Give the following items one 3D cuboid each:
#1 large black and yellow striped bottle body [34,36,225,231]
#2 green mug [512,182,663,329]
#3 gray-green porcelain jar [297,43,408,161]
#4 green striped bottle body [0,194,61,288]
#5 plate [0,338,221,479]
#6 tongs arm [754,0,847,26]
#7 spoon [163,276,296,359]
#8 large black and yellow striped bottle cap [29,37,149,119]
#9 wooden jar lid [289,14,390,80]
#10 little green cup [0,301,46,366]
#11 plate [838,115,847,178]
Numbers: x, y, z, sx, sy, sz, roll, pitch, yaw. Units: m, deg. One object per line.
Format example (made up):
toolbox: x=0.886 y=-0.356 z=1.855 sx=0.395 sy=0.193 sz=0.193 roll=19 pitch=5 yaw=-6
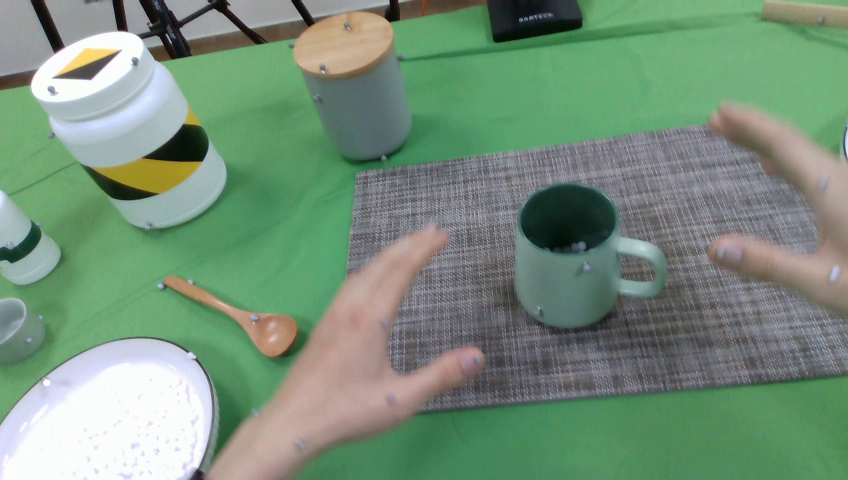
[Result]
large black and yellow striped bottle body: x=-0.317 y=-0.113 z=0.666 sx=0.130 sy=0.186 sz=0.129 roll=-6 pitch=51 yaw=8
green mug: x=0.135 y=0.018 z=0.507 sx=0.124 sy=0.106 sz=0.092 roll=11 pitch=54 yaw=21
gray-green porcelain jar: x=-0.077 y=-0.163 z=0.692 sx=0.106 sy=0.128 sz=0.105 roll=-6 pitch=50 yaw=8
green striped bottle body: x=-0.459 y=-0.006 z=0.654 sx=0.063 sy=0.120 sz=0.062 roll=-7 pitch=50 yaw=8
plate: x=-0.268 y=0.182 z=0.513 sx=0.209 sy=0.038 sz=0.207 roll=-6 pitch=50 yaw=8
tongs arm: x=0.551 y=-0.232 z=0.634 sx=0.384 sy=0.028 sz=0.028 roll=23 pitch=53 yaw=38
spoon: x=-0.197 y=0.068 z=0.599 sx=0.192 sy=0.022 sz=0.041 roll=21 pitch=78 yaw=26
large black and yellow striped bottle cap: x=-0.332 y=-0.163 z=0.602 sx=0.115 sy=0.019 sz=0.114 roll=-6 pitch=49 yaw=8
wooden jar lid: x=-0.088 y=-0.202 z=0.645 sx=0.108 sy=0.021 sz=0.107 roll=-6 pitch=53 yaw=8
little green cup: x=-0.422 y=0.097 z=0.616 sx=0.061 sy=0.039 sz=0.061 roll=-6 pitch=50 yaw=8
plate: x=0.489 y=-0.068 z=0.545 sx=0.207 sy=0.039 sz=0.205 roll=-6 pitch=50 yaw=8
